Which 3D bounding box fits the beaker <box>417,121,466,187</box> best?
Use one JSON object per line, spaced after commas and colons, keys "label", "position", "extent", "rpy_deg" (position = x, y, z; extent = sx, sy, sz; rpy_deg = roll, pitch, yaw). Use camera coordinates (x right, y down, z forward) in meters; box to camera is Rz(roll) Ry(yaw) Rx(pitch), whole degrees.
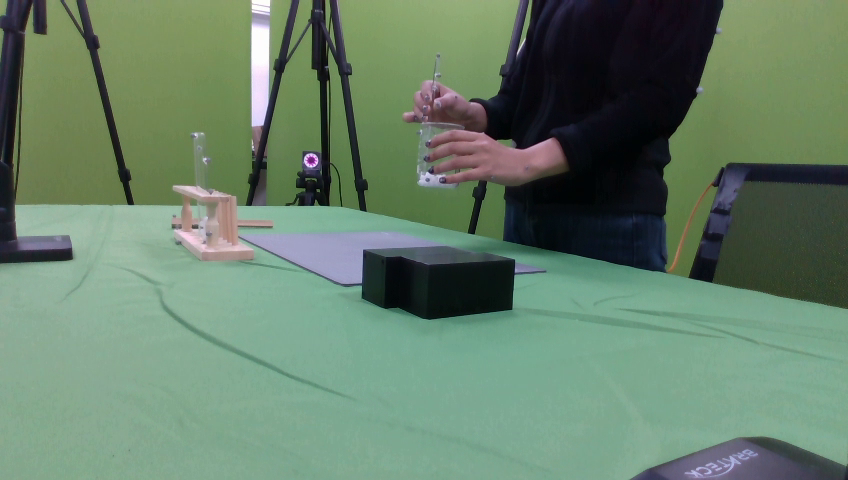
{"label": "beaker", "position": [0.025, -0.136, 0.968], "extent": [0.074, 0.100, 0.084], "rpy_deg": [3, 5, -13]}

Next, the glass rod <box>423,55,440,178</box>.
{"label": "glass rod", "position": [0.013, -0.198, 0.975], "extent": [0.008, 0.199, 0.008], "rpy_deg": [6, 1, 0]}

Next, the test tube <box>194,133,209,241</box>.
{"label": "test tube", "position": [-0.307, -0.074, 0.842], "extent": [0.017, 0.150, 0.017], "rpy_deg": [-3, 2, 0]}

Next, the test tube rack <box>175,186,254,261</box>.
{"label": "test tube rack", "position": [-0.314, -0.031, 0.889], "extent": [0.067, 0.085, 0.241], "rpy_deg": [-2, 8, -30]}

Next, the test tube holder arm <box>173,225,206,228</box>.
{"label": "test tube holder arm", "position": [-0.414, -0.030, 1.113], "extent": [0.088, 0.015, 0.010], "rpy_deg": [-1, -22, -25]}

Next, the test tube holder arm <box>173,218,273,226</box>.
{"label": "test tube holder arm", "position": [-0.371, -0.033, 1.128], "extent": [0.179, 0.015, 0.013], "rpy_deg": [-1, -22, -26]}
